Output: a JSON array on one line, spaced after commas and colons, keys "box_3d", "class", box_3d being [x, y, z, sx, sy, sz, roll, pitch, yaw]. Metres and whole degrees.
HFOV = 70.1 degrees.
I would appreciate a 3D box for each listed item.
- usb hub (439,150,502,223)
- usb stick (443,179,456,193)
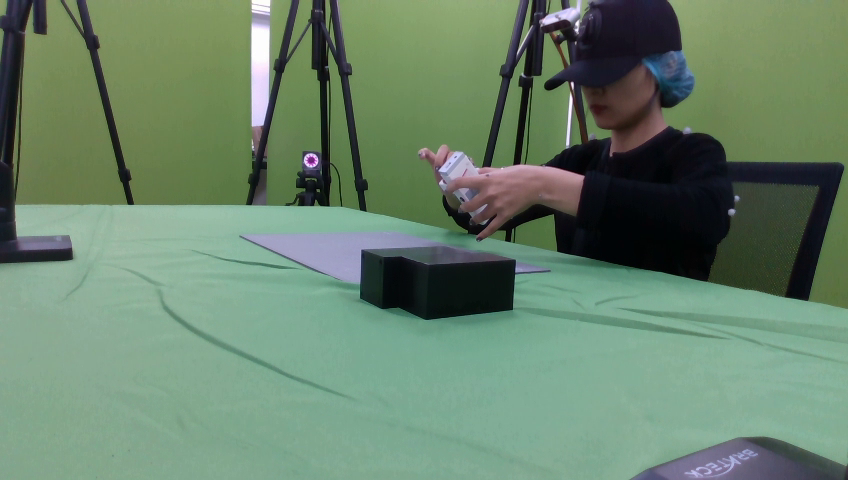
[{"box_3d": [0.078, -0.087, 0.990, 0.025, 0.049, 0.125, 20, -24, 54], "class": "usb hub"}, {"box_3d": [0.062, -0.092, 1.012, 0.027, 0.021, 0.059, -42, 42, -22], "class": "usb stick"}]
